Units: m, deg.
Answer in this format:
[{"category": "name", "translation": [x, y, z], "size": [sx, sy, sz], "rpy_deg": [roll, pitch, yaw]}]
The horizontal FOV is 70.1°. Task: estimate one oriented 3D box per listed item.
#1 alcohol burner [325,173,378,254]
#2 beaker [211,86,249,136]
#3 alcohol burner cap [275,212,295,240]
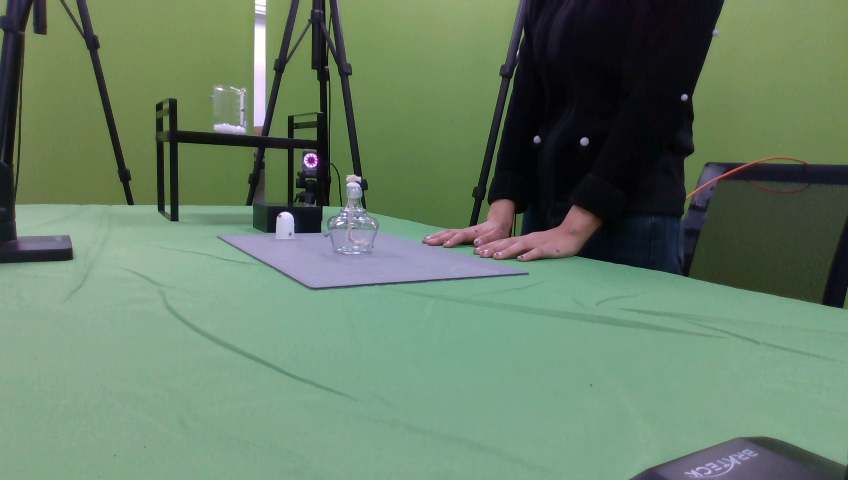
[{"category": "alcohol burner", "translation": [-0.107, -0.040, 0.896], "size": [0.078, 0.119, 0.078], "rpy_deg": [2, 5, 0]}, {"category": "beaker", "translation": [-0.413, -0.274, 1.297], "size": [0.074, 0.100, 0.083], "rpy_deg": [-5, 11, -44]}, {"category": "alcohol burner cap", "translation": [-0.233, -0.024, 1.013], "size": [0.034, 0.048, 0.034], "rpy_deg": [1, 7, 0]}]
